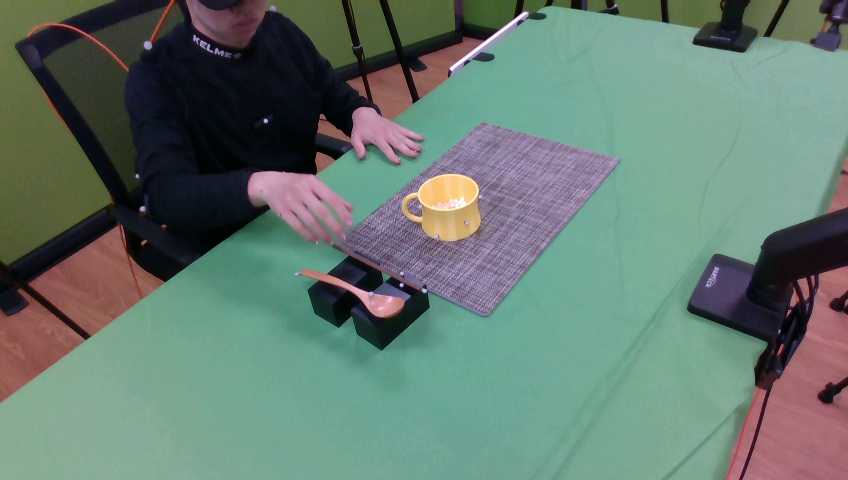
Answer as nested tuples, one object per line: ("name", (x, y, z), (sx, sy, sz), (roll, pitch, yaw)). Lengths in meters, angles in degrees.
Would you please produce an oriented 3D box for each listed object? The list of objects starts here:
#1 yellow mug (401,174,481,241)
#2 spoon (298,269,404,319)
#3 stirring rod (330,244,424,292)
("yellow mug", (0.026, -0.054, 0.988), (0.130, 0.064, 0.099), (-1, 41, 8))
("spoon", (-0.106, 0.068, 0.831), (0.192, 0.022, 0.042), (21, 48, 32))
("stirring rod", (-0.070, 0.038, 0.863), (0.175, 0.006, 0.014), (24, 12, 31))
